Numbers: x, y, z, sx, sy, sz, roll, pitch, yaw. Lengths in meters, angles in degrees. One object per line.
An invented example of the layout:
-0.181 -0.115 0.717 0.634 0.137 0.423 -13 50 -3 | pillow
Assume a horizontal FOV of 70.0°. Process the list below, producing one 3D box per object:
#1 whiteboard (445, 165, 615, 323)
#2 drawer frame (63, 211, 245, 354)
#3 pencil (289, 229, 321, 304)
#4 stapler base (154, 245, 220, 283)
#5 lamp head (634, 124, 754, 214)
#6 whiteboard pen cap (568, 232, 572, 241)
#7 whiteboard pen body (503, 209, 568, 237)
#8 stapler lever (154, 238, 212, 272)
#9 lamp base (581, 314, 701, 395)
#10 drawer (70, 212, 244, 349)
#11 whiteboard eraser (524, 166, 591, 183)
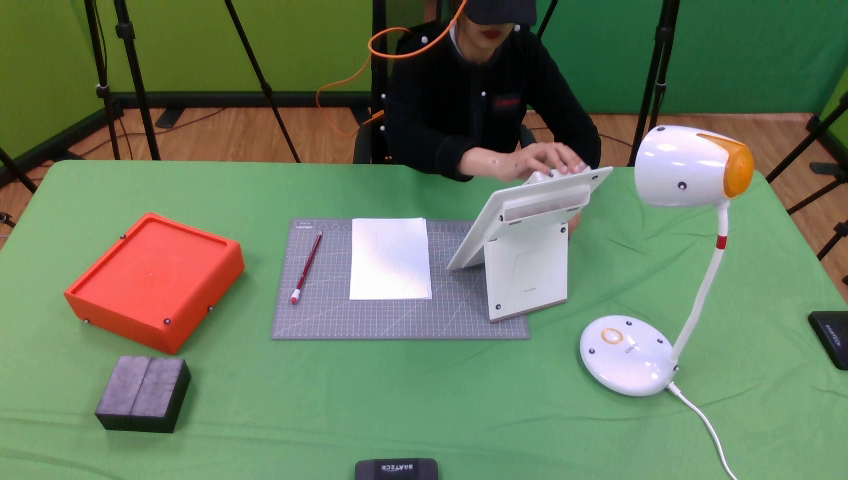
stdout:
0.191 0.026 1.028 0.217 0.306 0.143 -12 68 -18 | whiteboard
-0.459 0.067 1.056 0.201 0.083 0.212 17 48 11 | drawer frame
-0.220 0.045 1.141 0.012 0.012 0.193 8 45 4 | pencil
-0.434 0.038 1.107 0.130 0.024 0.041 21 45 17 | stapler base
0.351 -0.089 0.775 0.112 0.113 0.122 -30 30 -28 | lamp head
0.282 -0.012 1.230 0.033 0.018 0.018 24 49 14 | whiteboard pen cap
0.230 -0.034 1.247 0.140 0.017 0.017 23 49 15 | whiteboard pen body
-0.434 0.022 1.091 0.118 0.040 0.027 23 46 15 | stapler lever
0.361 0.145 0.973 0.178 0.181 0.160 34 53 23 | lamp base
-0.458 0.065 1.060 0.194 0.073 0.211 18 48 12 | drawer
0.222 -0.093 1.001 0.113 0.056 0.041 -9 66 -24 | whiteboard eraser
